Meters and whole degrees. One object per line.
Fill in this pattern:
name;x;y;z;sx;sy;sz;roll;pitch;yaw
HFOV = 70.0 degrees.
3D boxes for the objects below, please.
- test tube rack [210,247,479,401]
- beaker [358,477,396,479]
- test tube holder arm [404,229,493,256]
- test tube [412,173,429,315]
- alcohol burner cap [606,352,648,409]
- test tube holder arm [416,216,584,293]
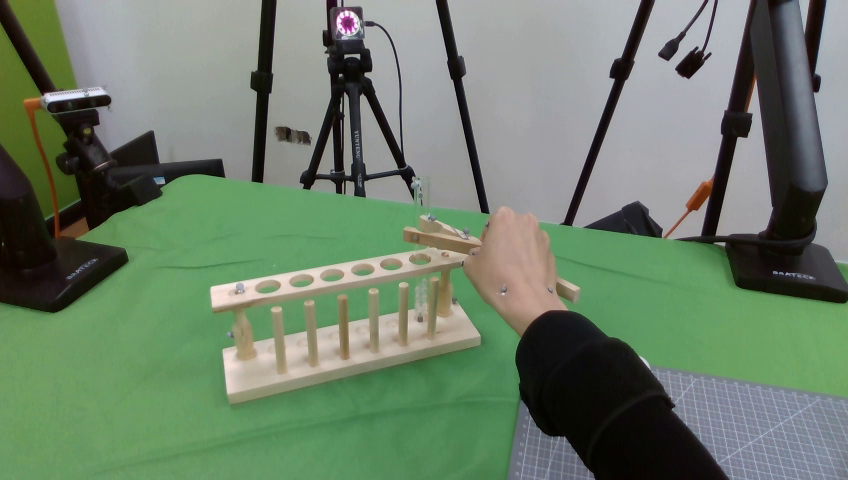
test tube rack;-0.069;0.072;0.579;0.243;0.086;0.066;-10;32;-18
beaker;-0.033;0.198;0.347;0.083;0.101;0.074;12;32;20
test tube holder arm;0.023;0.002;0.568;0.087;0.015;0.010;8;37;17
test tube;-0.004;0.008;0.592;0.017;0.151;0.017;1;26;0
alcohol burner cap;0.181;0.121;0.537;0.034;0.048;0.033;0;29;0
test tube holder arm;0.064;0.010;0.552;0.177;0.015;0.013;21;44;31
